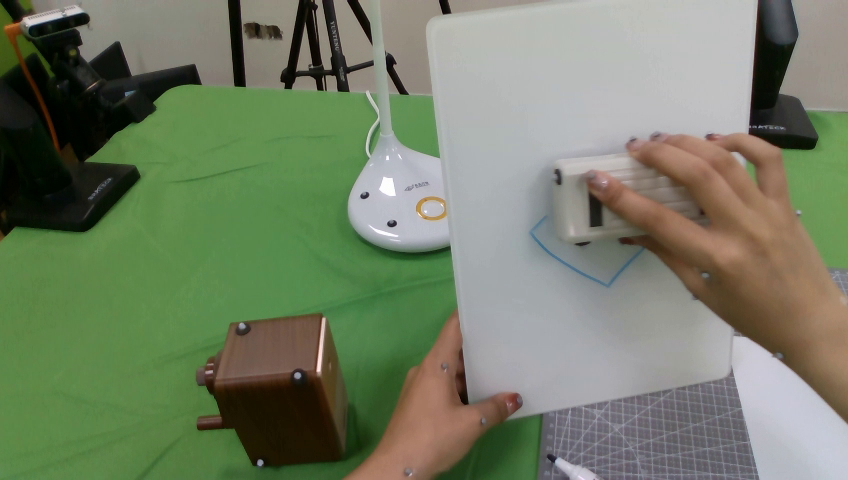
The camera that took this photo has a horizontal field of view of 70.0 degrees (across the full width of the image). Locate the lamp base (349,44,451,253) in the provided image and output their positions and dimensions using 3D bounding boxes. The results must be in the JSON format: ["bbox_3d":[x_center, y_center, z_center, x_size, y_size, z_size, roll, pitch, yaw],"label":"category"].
[{"bbox_3d":[-0.018,-0.105,0.643,0.161,0.182,0.177,-27,43,-24],"label":"lamp base"}]

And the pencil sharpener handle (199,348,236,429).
[{"bbox_3d":[-0.154,0.111,0.439,0.030,0.068,0.035,-5,28,0],"label":"pencil sharpener handle"}]

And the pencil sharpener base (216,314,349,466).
[{"bbox_3d":[-0.102,0.114,0.450,0.077,0.108,0.060,-5,41,0],"label":"pencil sharpener base"}]

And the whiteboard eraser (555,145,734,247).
[{"bbox_3d":[0.144,-0.029,0.403,0.113,0.056,0.041,-7,17,-4],"label":"whiteboard eraser"}]

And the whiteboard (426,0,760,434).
[{"bbox_3d":[0.119,-0.031,0.490,0.217,0.307,0.142,-9,21,-4],"label":"whiteboard"}]

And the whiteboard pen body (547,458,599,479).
[{"bbox_3d":[0.143,0.185,0.406,0.139,0.017,0.017,25,48,34],"label":"whiteboard pen body"}]
